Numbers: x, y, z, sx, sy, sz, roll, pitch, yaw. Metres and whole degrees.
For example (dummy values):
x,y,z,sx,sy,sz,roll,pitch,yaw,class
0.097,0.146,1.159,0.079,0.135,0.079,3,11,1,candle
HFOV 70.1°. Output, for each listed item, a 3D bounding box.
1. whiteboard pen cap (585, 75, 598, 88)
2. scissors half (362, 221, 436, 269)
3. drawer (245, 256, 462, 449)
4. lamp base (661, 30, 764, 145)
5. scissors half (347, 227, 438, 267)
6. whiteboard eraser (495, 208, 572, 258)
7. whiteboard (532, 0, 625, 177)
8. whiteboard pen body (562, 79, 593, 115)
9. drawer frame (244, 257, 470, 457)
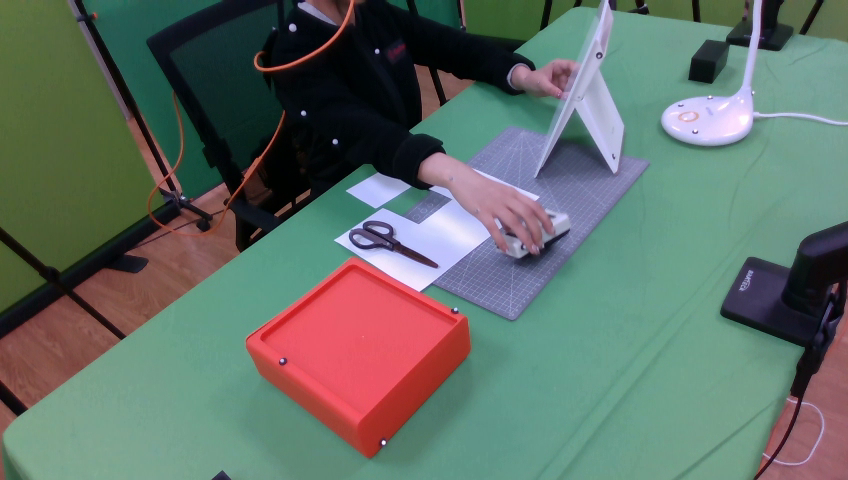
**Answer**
x,y,z,sx,sy,sz,roll,pitch,yaw,class
0.362,-0.343,1.310,0.018,0.018,0.033,19,54,29,whiteboard pen cap
-0.040,0.007,0.988,0.040,0.013,0.173,-20,39,-36,scissors half
-0.089,0.136,0.792,0.210,0.073,0.195,26,51,34,drawer
0.535,-0.287,1.096,0.179,0.181,0.159,-10,40,-4,lamp base
-0.053,0.015,0.975,0.174,0.013,0.040,19,38,23,scissors half
0.165,-0.008,0.908,0.113,0.042,0.055,-28,28,-25,whiteboard eraser
0.320,-0.258,1.050,0.144,0.306,0.217,21,45,5,whiteboard
0.328,-0.306,1.278,0.017,0.017,0.141,20,51,30,whiteboard pen body
-0.084,0.138,0.788,0.212,0.083,0.202,25,50,33,drawer frame
